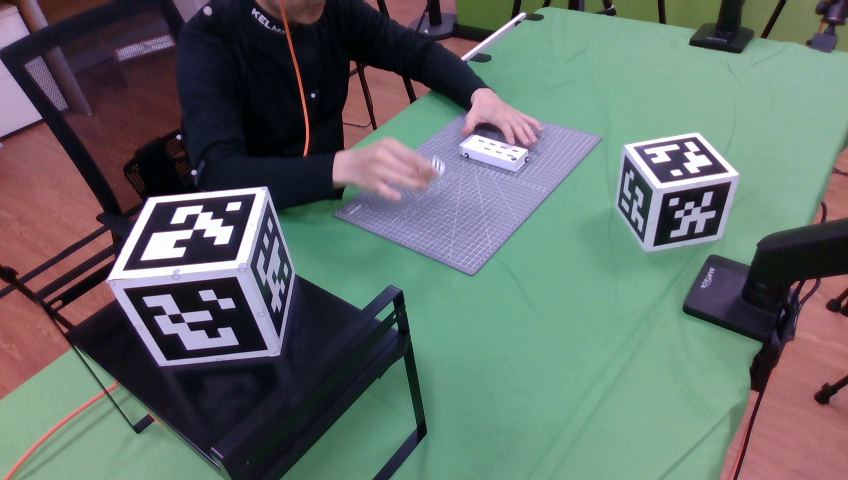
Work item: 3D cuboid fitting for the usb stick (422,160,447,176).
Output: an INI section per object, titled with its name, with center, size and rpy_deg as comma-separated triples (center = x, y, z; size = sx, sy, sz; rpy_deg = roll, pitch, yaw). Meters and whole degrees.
[usb stick]
center = 0.019, -0.112, 0.943
size = 0.027, 0.021, 0.059
rpy_deg = -12, 9, -14

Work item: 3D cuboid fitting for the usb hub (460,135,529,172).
[usb hub]
center = 0.132, -0.164, 1.138
size = 0.124, 0.025, 0.049
rpy_deg = 22, 48, 30
